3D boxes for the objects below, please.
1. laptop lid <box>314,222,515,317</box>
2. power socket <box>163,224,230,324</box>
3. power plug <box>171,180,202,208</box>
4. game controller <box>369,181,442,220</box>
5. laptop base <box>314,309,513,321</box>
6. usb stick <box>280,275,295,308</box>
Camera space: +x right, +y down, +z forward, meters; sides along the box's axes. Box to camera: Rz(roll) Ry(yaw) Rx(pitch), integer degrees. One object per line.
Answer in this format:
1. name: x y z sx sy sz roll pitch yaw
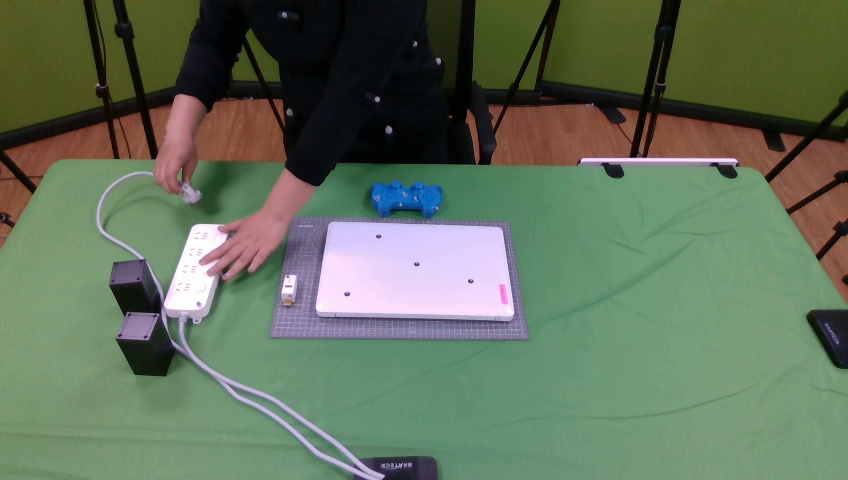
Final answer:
1. laptop lid: -0.016 0.049 1.134 0.357 0.013 0.240 3 43 -2
2. power socket: -0.412 0.052 1.106 0.072 0.033 0.225 3 46 -3
3. power plug: -0.460 -0.092 1.186 0.035 0.053 0.072 -32 42 -19
4. game controller: -0.039 -0.092 1.268 0.155 0.052 0.096 2 50 -2
5. laptop base: -0.017 0.059 1.141 0.354 0.023 0.234 2 43 -3
6. usb stick: -0.244 0.093 1.081 0.021 0.027 0.059 3 48 -5
